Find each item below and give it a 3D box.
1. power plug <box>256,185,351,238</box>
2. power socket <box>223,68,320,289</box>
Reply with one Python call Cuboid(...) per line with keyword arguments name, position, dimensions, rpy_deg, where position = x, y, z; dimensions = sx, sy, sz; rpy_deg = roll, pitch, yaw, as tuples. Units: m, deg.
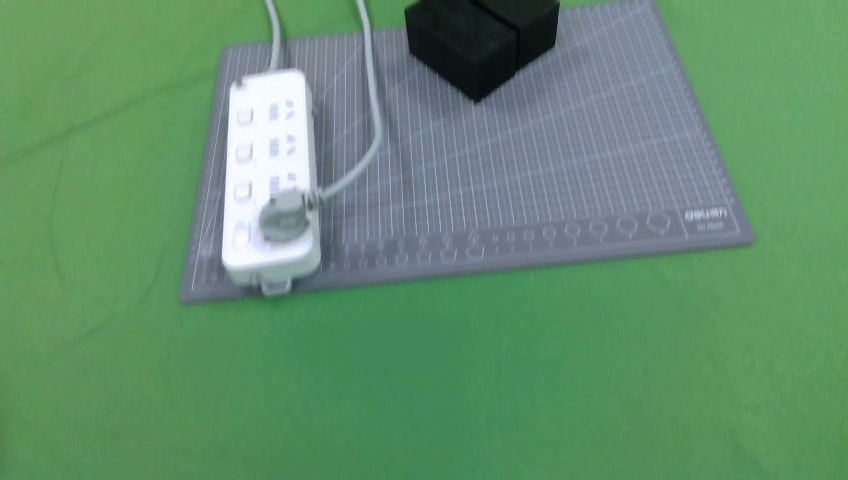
Cuboid(name="power plug", position=(-0.092, -0.016, 0.465), dimensions=(0.072, 0.053, 0.035), rpy_deg=(4, 57, 2))
Cuboid(name="power socket", position=(-0.130, -0.064, 0.520), dimensions=(0.072, 0.033, 0.224), rpy_deg=(-8, 57, -1))
